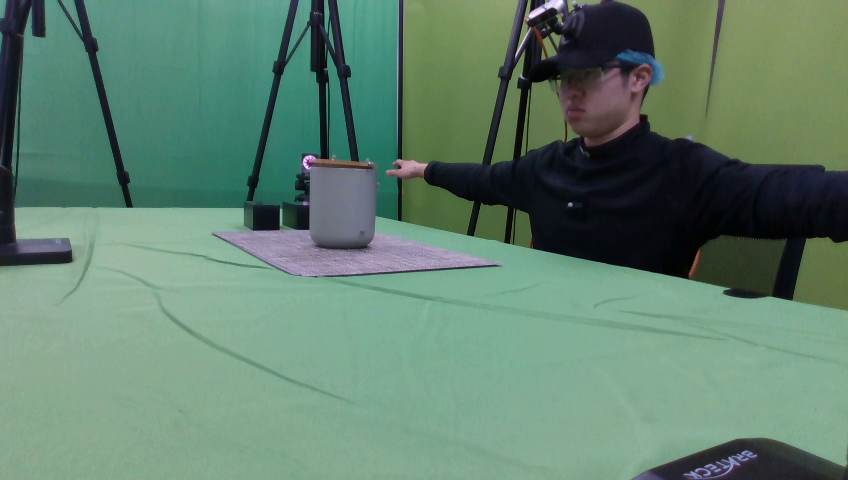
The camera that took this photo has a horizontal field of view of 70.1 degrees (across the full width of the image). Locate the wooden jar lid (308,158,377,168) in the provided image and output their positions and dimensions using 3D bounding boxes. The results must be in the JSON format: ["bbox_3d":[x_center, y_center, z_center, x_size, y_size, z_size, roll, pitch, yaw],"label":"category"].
[{"bbox_3d":[-0.128,-0.117,0.956,0.108,0.020,0.108,5,6,0],"label":"wooden jar lid"}]

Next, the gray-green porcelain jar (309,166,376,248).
[{"bbox_3d":[-0.130,-0.054,0.966,0.106,0.126,0.106,2,7,0],"label":"gray-green porcelain jar"}]
